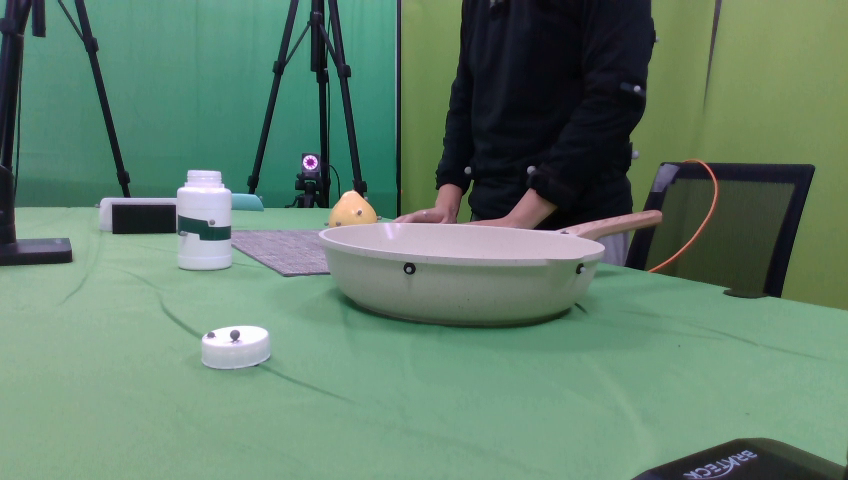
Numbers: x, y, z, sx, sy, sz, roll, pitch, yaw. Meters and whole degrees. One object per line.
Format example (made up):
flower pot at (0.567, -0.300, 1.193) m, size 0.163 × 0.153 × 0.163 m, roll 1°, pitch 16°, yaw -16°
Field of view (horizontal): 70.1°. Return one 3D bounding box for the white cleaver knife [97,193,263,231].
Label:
white cleaver knife at (-0.444, -0.053, 1.121) m, size 0.288 × 0.066 × 0.021 m, roll -4°, pitch 16°, yaw -27°

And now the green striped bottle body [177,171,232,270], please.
green striped bottle body at (-0.273, -0.026, 0.752) m, size 0.063 × 0.119 × 0.063 m, roll 2°, pitch 7°, yaw 0°

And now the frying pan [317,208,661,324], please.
frying pan at (0.121, 0.006, 0.691) m, size 0.490 × 0.102 × 0.305 m, roll -13°, pitch 15°, yaw -33°

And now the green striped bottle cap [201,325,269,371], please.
green striped bottle cap at (-0.129, 0.073, 0.415) m, size 0.044 × 0.020 × 0.044 m, roll 3°, pitch 8°, yaw 0°

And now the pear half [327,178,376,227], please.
pear half at (-0.110, -0.042, 0.942) m, size 0.077 × 0.110 × 0.055 m, roll -7°, pitch 10°, yaw -25°

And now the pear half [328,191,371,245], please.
pear half at (-0.124, -0.037, 0.976) m, size 0.071 × 0.088 × 0.031 m, roll -6°, pitch 11°, yaw -26°
